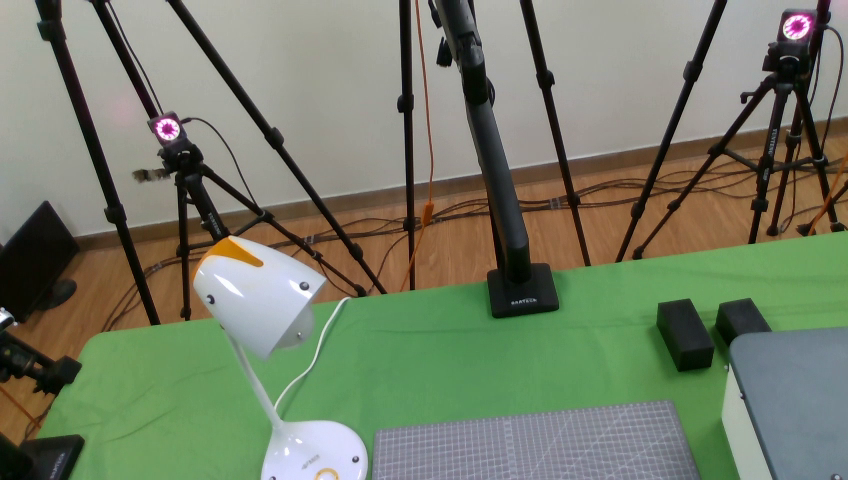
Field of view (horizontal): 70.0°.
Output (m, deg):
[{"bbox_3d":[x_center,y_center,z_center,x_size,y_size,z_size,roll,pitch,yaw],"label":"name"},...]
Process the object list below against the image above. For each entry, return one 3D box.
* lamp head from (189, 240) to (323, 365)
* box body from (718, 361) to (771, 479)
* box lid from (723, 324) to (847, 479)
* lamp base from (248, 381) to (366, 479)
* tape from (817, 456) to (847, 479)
[{"bbox_3d":[-0.189,0.059,0.655,0.123,0.113,0.112,33,50,-1],"label":"lamp head"},{"bbox_3d":[0.510,0.287,0.679,0.254,0.162,0.360,-6,40,9],"label":"box body"},{"bbox_3d":[0.498,0.230,0.633,0.263,0.015,0.368,-6,41,9],"label":"box lid"},{"bbox_3d":[-0.188,0.284,0.855,0.177,0.182,0.160,20,50,36],"label":"lamp base"},{"bbox_3d":[0.525,0.317,0.717,0.117,0.053,0.115,-7,41,6],"label":"tape"}]
